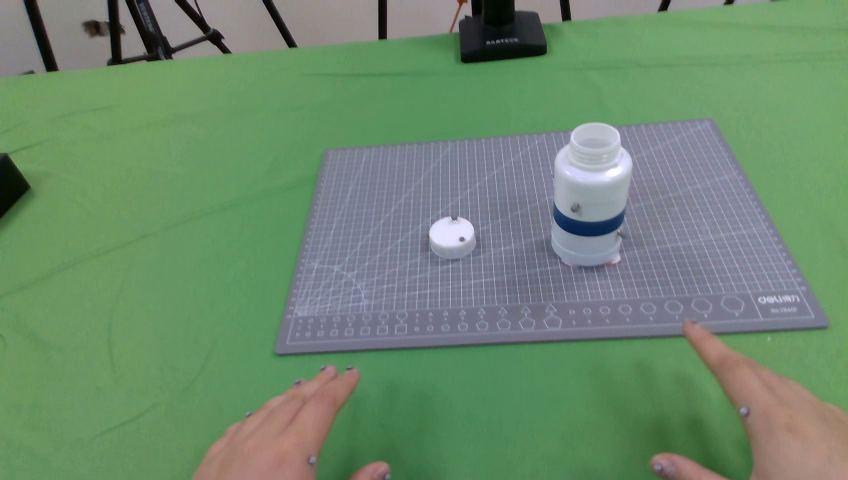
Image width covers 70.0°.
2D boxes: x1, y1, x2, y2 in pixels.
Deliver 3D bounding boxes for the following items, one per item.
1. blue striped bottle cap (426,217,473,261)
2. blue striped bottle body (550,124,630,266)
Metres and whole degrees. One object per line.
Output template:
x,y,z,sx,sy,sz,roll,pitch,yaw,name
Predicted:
0.025,-0.001,0.581,0.044,0.021,0.044,-3,42,3,blue striped bottle cap
0.142,-0.040,0.524,0.063,0.122,0.062,-4,44,4,blue striped bottle body
